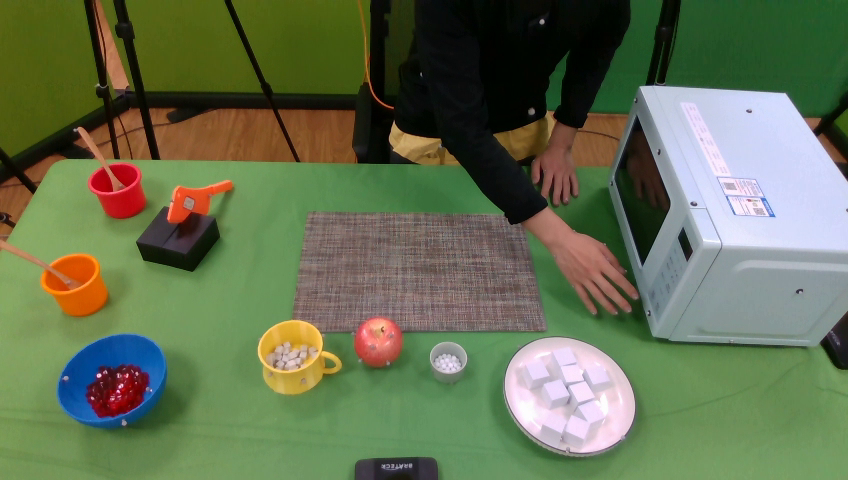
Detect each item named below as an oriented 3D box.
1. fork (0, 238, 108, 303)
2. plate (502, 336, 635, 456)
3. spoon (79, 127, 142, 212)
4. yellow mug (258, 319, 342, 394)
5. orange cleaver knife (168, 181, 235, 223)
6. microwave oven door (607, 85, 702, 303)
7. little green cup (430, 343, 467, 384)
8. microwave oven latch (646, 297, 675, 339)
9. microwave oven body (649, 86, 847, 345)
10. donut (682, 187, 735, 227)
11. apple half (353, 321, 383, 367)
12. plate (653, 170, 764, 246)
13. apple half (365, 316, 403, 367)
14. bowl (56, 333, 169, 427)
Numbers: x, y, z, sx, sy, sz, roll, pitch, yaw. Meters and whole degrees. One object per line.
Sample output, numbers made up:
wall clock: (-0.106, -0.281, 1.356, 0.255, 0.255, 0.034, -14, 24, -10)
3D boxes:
fork: (-0.633, 0.048, 1.017, 0.208, 0.018, 0.028, 40, 43, -27)
plate: (0.225, 0.248, 0.963, 0.208, 0.039, 0.206, 2, 46, -2)
spoon: (-0.624, -0.140, 1.203, 0.041, 0.021, 0.194, -33, 101, -26)
yellow mug: (-0.195, 0.188, 0.972, 0.131, 0.064, 0.099, 9, 47, 4)
orange cleaver knife: (-0.436, -0.078, 1.196, 0.012, 0.077, 0.211, 16, 15, 10)
microwave oven door: (0.423, -0.094, 1.140, 0.039, 0.245, 0.353, 2, 46, -1)
little green cup: (0.039, 0.203, 0.994, 0.061, 0.039, 0.061, 2, 46, -2)
microwave oven latch: (0.412, 0.134, 1.061, 0.030, 0.029, 0.078, 4, 45, 1)
microwave oven body: (0.568, -0.053, 1.119, 0.326, 0.261, 0.439, 2, 45, -1)
donut: (0.554, -0.066, 1.183, 0.099, 0.048, 0.098, 3, 44, -3)
apple half: (-0.097, 0.177, 0.984, 0.033, 0.081, 0.081, -17, 49, -25)
plate: (0.556, -0.059, 1.196, 0.209, 0.038, 0.208, 2, 46, -2)
apple half: (-0.063, 0.165, 1.000, 0.053, 0.075, 0.080, -16, 45, -24)
bowl: (-0.456, 0.223, 0.912, 0.151, 0.077, 0.150, 3, 46, -2)
